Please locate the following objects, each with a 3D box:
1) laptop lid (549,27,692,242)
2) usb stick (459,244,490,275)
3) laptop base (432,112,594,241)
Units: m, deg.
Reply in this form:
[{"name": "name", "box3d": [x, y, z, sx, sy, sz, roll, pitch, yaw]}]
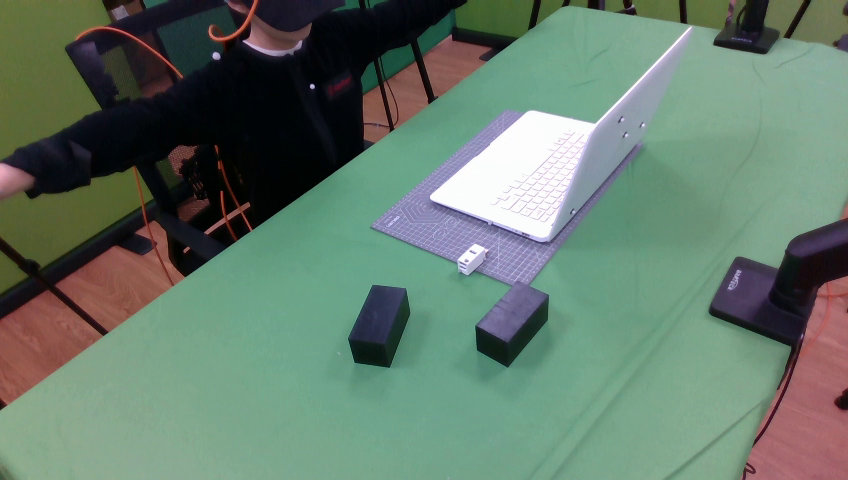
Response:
[{"name": "laptop lid", "box3d": [0.311, -0.167, 0.948, 0.013, 0.242, 0.358, 33, 52, 20]}, {"name": "usb stick", "box3d": [0.080, 0.026, 0.926, 0.021, 0.027, 0.059, 27, 49, 33]}, {"name": "laptop base", "box3d": [0.208, -0.129, 1.098, 0.233, 0.023, 0.355, 20, 47, 34]}]
